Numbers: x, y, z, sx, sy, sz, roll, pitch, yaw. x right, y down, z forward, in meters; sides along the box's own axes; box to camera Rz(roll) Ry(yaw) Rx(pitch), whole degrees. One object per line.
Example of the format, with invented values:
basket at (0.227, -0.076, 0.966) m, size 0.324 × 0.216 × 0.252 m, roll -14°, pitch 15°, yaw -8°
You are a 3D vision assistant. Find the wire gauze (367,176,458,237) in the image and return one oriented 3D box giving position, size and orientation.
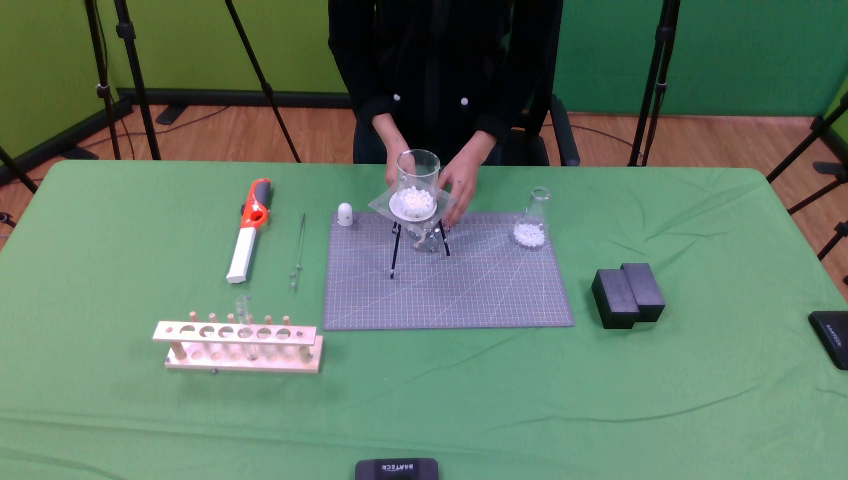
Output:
wire gauze at (-0.020, -0.066, 1.089) m, size 0.124 × 0.011 × 0.121 m, roll 27°, pitch 47°, yaw 22°

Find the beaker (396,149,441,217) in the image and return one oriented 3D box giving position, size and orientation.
beaker at (-0.015, -0.098, 1.053) m, size 0.074 × 0.101 × 0.083 m, roll -31°, pitch 55°, yaw -30°

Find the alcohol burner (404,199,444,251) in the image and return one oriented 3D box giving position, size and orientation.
alcohol burner at (0.001, -0.035, 1.167) m, size 0.078 × 0.119 × 0.077 m, roll 4°, pitch 45°, yaw -4°

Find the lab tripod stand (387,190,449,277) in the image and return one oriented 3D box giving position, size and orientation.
lab tripod stand at (-0.021, -0.018, 1.135) m, size 0.148 × 0.132 × 0.147 m, roll 3°, pitch 44°, yaw -3°

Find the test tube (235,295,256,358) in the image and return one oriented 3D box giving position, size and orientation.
test tube at (-0.274, 0.136, 0.933) m, size 0.017 × 0.151 × 0.017 m, roll 4°, pitch 46°, yaw -4°

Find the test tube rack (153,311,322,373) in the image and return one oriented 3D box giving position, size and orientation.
test tube rack at (-0.293, 0.160, 0.978) m, size 0.242 × 0.085 × 0.066 m, roll 3°, pitch 46°, yaw -2°

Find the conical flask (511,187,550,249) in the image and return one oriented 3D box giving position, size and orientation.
conical flask at (0.217, -0.048, 1.190) m, size 0.075 × 0.122 × 0.075 m, roll 2°, pitch 46°, yaw -2°

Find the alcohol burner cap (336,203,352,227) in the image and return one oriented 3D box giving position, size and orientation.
alcohol burner cap at (-0.162, -0.053, 1.221) m, size 0.034 × 0.048 × 0.033 m, roll 2°, pitch 47°, yaw -2°

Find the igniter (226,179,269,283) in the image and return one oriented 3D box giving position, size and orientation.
igniter at (-0.345, -0.027, 1.195) m, size 0.057 × 0.025 × 0.274 m, roll -6°, pitch 46°, yaw 5°

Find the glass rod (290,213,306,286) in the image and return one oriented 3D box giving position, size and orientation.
glass rod at (-0.244, 0.015, 1.175) m, size 0.008 × 0.008 × 0.198 m, roll 1°, pitch 43°, yaw -3°
